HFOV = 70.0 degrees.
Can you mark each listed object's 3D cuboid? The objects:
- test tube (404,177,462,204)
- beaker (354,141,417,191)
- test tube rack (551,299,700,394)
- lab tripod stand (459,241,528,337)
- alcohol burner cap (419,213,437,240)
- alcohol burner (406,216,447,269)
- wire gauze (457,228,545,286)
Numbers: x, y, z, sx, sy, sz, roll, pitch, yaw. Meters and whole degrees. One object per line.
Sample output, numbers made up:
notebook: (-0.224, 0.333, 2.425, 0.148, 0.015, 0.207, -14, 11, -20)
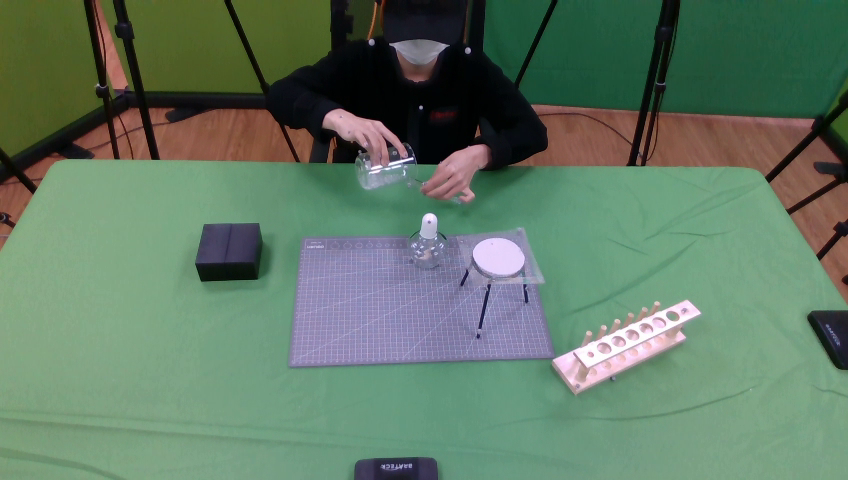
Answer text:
test tube: (0.021, -0.098, 1.220, 0.151, 0.017, 0.017, 18, 34, -39)
beaker: (-0.074, -0.134, 1.134, 0.100, 0.084, 0.073, -16, 41, -21)
test tube rack: (0.339, 0.166, 1.021, 0.242, 0.085, 0.066, -19, 50, -21)
lab tripod stand: (0.122, 0.075, 1.054, 0.148, 0.132, 0.147, 3, 44, -3)
alcohol burner cap: (0.009, -0.027, 1.109, 0.034, 0.048, 0.033, 3, 44, -3)
alcohol burner: (0.006, -0.003, 1.134, 0.078, 0.120, 0.077, 2, 48, -2)
wire gauze: (0.126, 0.029, 1.006, 0.125, 0.011, 0.120, -4, 46, -10)
